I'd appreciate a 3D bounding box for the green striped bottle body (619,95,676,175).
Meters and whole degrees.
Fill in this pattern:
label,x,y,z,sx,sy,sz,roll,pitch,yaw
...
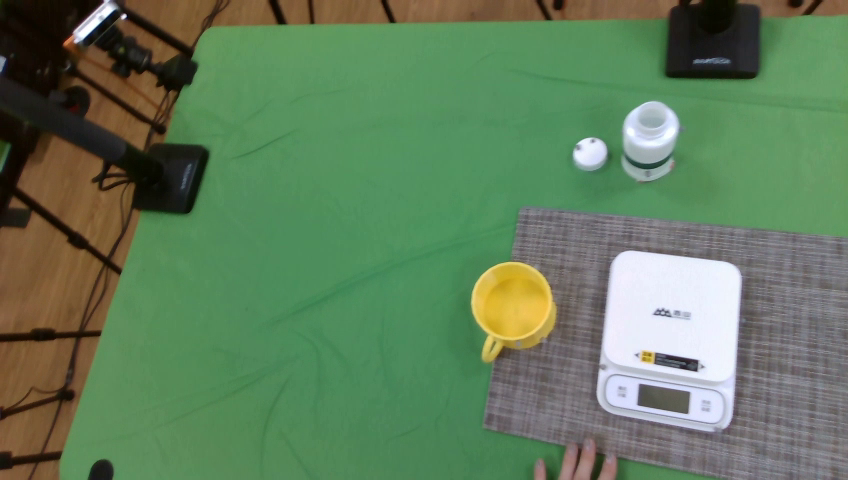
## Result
label,x,y,z,sx,sy,sz,roll,pitch,yaw
green striped bottle body,0.282,-0.135,0.766,0.063,0.120,0.063,-5,70,14

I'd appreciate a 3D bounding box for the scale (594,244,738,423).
label,x,y,z,sx,sy,sz,roll,pitch,yaw
scale,0.290,0.107,0.726,0.148,0.032,0.200,6,74,18

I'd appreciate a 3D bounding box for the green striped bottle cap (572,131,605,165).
label,x,y,z,sx,sy,sz,roll,pitch,yaw
green striped bottle cap,0.227,-0.128,0.837,0.044,0.020,0.044,-3,77,15

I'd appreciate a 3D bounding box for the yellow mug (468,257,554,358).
label,x,y,z,sx,sy,sz,roll,pitch,yaw
yellow mug,0.104,0.091,0.766,0.099,0.064,0.130,26,81,23
